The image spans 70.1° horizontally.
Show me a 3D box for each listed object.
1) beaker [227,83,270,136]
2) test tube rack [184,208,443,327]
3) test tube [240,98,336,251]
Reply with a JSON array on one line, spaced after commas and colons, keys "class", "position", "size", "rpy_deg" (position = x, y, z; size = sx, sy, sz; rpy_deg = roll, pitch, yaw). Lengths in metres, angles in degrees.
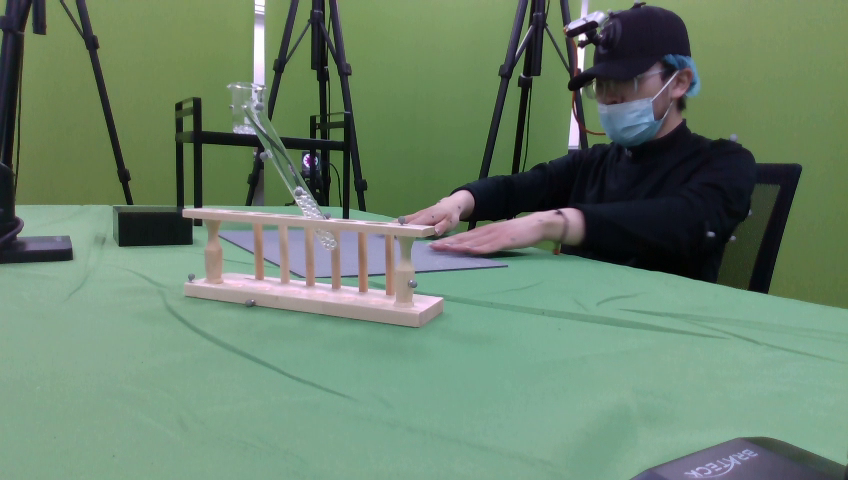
[{"class": "beaker", "position": [-0.354, -0.262, 1.224], "size": [0.084, 0.100, 0.073], "rpy_deg": [-2, 8, -28]}, {"class": "test tube rack", "position": [-0.106, 0.019, 0.570], "size": [0.241, 0.085, 0.067], "rpy_deg": [5, 8, 19]}, {"class": "test tube", "position": [-0.116, -0.053, 0.528], "size": [0.017, 0.151, 0.017], "rpy_deg": [-21, 24, 10]}]
